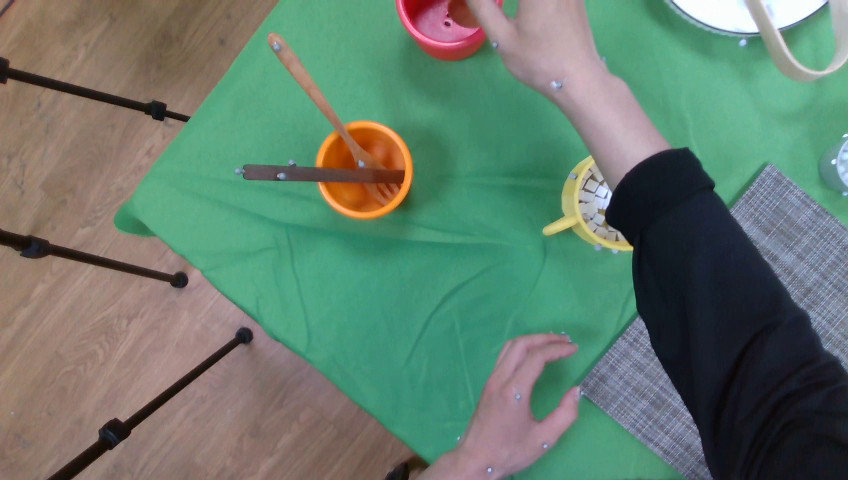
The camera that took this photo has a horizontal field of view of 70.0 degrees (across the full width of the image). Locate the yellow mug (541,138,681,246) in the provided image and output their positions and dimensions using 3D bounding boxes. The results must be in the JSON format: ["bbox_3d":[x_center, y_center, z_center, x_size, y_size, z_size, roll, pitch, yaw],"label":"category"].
[{"bbox_3d":[0.175,-0.039,0.592,0.131,0.064,0.100,-25,92,5],"label":"yellow mug"}]

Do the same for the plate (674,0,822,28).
[{"bbox_3d":[0.311,-0.308,0.583,0.207,0.039,0.207,0,94,3],"label":"plate"}]

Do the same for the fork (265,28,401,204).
[{"bbox_3d":[-0.079,-0.106,0.556,0.028,0.018,0.210,-35,134,2],"label":"fork"}]

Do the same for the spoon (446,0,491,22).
[{"bbox_3d":[0.034,-0.216,0.492,0.041,0.193,0.021,8,94,5],"label":"spoon"}]

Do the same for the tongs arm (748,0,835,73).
[{"bbox_3d":[0.274,-0.328,0.551,0.051,0.026,0.384,-22,90,0],"label":"tongs arm"}]

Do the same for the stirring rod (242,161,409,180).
[{"bbox_3d":[-0.085,-0.064,0.565,0.177,0.006,0.014,-4,95,-39],"label":"stirring rod"}]

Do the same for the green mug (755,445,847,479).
[{"bbox_3d":[0.394,0.245,0.575,0.125,0.105,0.092,-34,90,4],"label":"green mug"}]

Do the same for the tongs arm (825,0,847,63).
[{"bbox_3d":[0.353,-0.352,0.548,0.028,0.028,0.387,-8,91,-3],"label":"tongs arm"}]

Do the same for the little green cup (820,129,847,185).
[{"bbox_3d":[0.423,-0.082,0.591,0.061,0.038,0.061,0,93,4],"label":"little green cup"}]
